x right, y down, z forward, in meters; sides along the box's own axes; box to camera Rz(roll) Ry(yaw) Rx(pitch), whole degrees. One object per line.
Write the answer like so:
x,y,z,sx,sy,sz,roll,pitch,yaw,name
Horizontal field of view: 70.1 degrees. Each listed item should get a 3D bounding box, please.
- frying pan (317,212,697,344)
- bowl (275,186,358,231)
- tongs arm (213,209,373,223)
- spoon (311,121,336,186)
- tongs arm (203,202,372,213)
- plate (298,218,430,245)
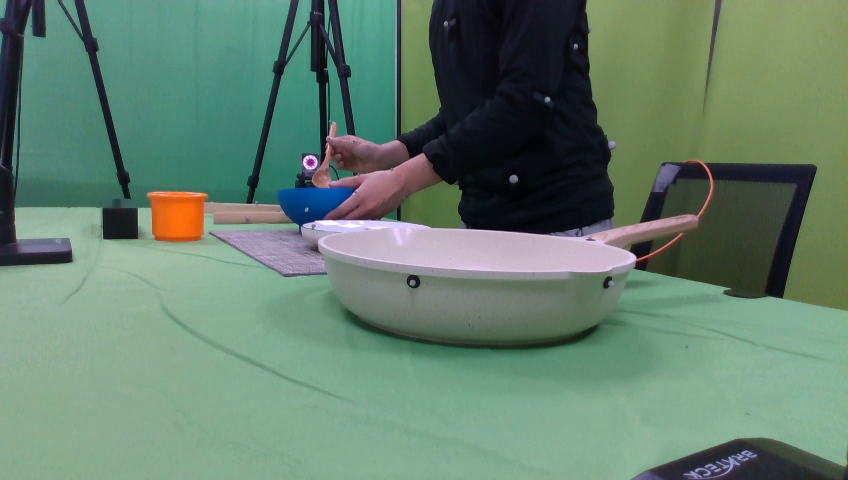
0.133,0.013,0.629,0.490,0.102,0.305,-12,14,-31,frying pan
-0.197,-0.056,1.122,0.151,0.077,0.151,-2,1,0,bowl
-0.274,-0.054,1.347,0.390,0.028,0.028,-2,6,-37,tongs arm
-0.207,-0.185,1.291,0.042,0.193,0.021,18,-34,-16,spoon
-0.312,-0.068,1.418,0.387,0.026,0.050,1,8,-24,tongs arm
-0.091,-0.006,0.949,0.208,0.039,0.207,2,7,0,plate
